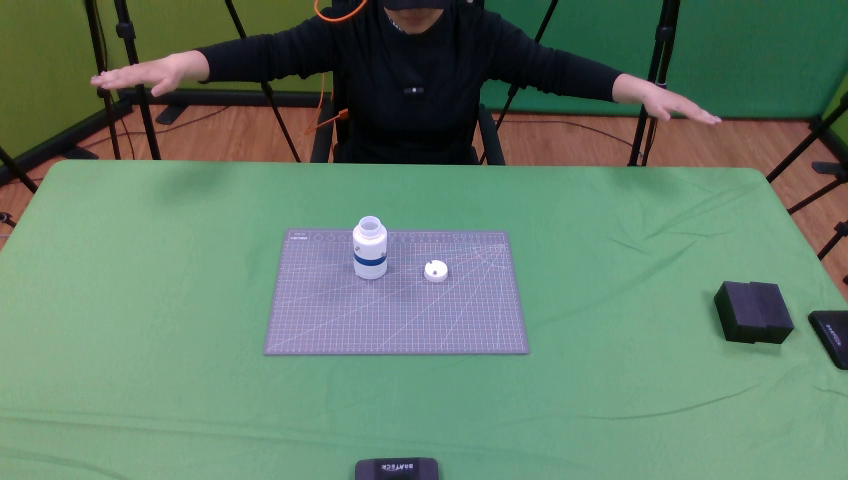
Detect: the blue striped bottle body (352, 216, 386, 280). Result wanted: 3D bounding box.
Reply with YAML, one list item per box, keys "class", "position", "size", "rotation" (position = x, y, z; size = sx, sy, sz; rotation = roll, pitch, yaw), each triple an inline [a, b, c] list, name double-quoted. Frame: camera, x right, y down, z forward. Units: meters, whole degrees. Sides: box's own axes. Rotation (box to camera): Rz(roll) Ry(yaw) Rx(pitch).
- class: "blue striped bottle body"
  position: [-0.100, 0.012, 1.107]
  size: [0.063, 0.121, 0.062]
  rotation: [2, 46, -2]

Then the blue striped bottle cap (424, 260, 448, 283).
- class: "blue striped bottle cap"
  position: [0.022, 0.059, 1.145]
  size: [0.044, 0.021, 0.044]
  rotation: [2, 47, -2]
